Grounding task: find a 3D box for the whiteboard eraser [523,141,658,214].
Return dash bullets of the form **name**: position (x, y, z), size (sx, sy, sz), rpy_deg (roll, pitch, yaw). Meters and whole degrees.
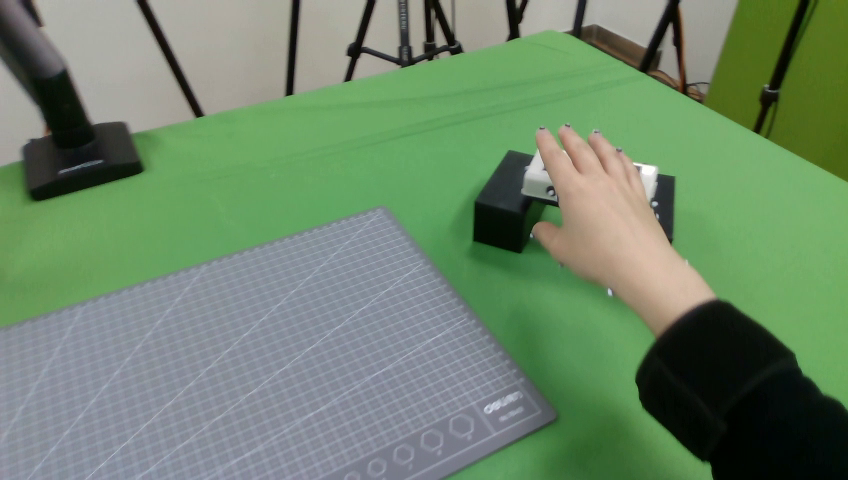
- **whiteboard eraser**: position (0.151, -0.056, 0.553), size (0.112, 0.042, 0.055), rpy_deg (13, 45, 19)
